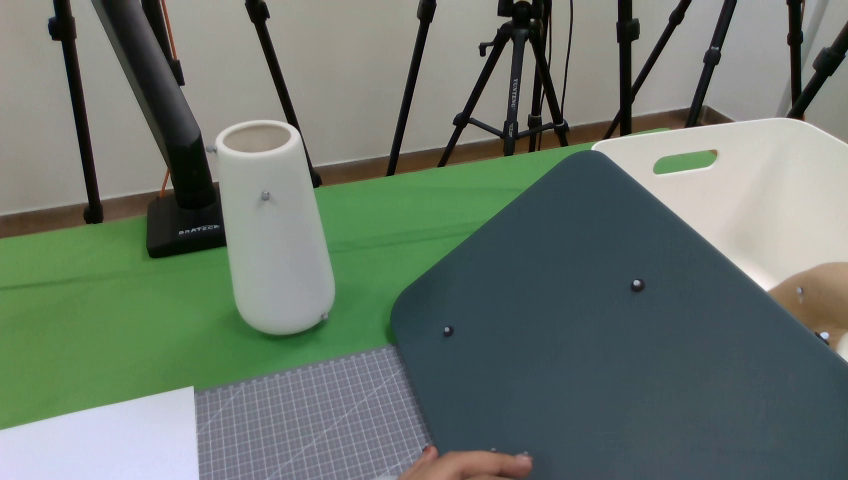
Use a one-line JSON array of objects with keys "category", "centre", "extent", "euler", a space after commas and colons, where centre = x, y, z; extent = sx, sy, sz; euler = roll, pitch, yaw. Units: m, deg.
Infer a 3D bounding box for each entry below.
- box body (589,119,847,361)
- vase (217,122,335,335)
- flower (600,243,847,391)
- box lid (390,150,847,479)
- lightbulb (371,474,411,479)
[{"category": "box body", "centre": [0.325, 0.050, 0.531], "extent": [0.255, 0.162, 0.360], "euler": [-10, 37, -13]}, {"category": "vase", "centre": [-0.140, -0.006, 0.570], "extent": [0.098, 0.202, 0.097], "euler": [-1, 35, 1]}, {"category": "flower", "centre": [0.331, 0.099, 0.578], "extent": [0.358, 0.038, 0.044], "euler": [33, 43, 30]}, {"category": "box lid", "centre": [0.115, 0.092, 0.460], "extent": [0.263, 0.015, 0.367], "euler": [-40, 39, 9]}, {"category": "lightbulb", "centre": [-0.018, 0.209, 0.397], "extent": [0.059, 0.060, 0.106], "euler": [-8, 52, -11]}]
